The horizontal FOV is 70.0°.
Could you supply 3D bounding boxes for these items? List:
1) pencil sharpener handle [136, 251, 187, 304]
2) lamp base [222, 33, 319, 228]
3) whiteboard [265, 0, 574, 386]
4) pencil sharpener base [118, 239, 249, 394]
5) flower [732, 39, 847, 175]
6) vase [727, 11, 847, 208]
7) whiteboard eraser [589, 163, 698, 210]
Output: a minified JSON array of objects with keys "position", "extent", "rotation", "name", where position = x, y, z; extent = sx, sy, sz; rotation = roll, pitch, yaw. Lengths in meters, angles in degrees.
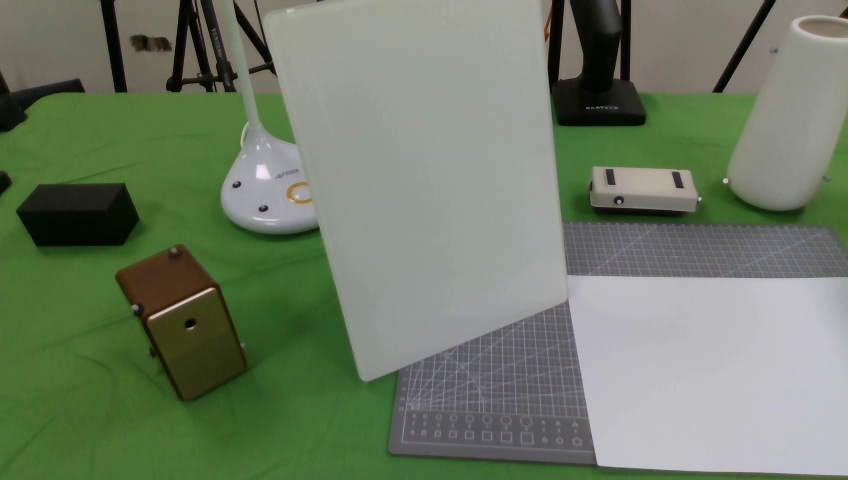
[{"position":[-0.233,0.029,0.538],"extent":[0.036,0.068,0.030],"rotation":[-36,49,-21],"name":"pencil sharpener handle"},{"position":[-0.171,-0.131,0.685],"extent":[0.160,0.182,0.177],"rotation":[-33,47,-31],"name":"lamp base"},{"position":[-0.006,-0.067,0.549],"extent":[0.217,0.307,0.142],"rotation":[-18,24,-17],"name":"whiteboard"},{"position":[-0.202,0.064,0.514],"extent":[0.061,0.108,0.076],"rotation":[-29,47,-27],"name":"pencil sharpener base"},{"position":[0.405,-0.186,0.581],"extent":[0.044,0.364,0.038],"rotation":[-15,59,-23],"name":"flower"},{"position":[0.399,-0.133,0.646],"extent":[0.098,0.202,0.097],"rotation":[-1,41,1],"name":"vase"},{"position":[0.247,-0.060,0.689],"extent":[0.112,0.042,0.055],"rotation":[2,38,7],"name":"whiteboard eraser"}]
